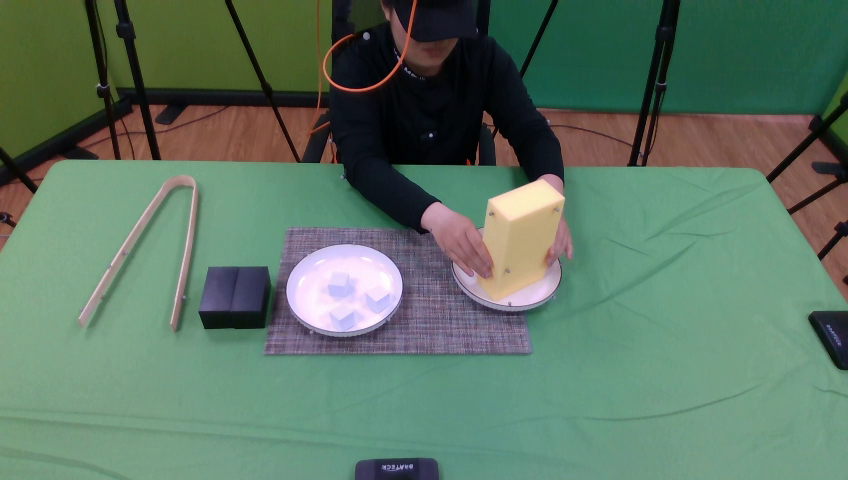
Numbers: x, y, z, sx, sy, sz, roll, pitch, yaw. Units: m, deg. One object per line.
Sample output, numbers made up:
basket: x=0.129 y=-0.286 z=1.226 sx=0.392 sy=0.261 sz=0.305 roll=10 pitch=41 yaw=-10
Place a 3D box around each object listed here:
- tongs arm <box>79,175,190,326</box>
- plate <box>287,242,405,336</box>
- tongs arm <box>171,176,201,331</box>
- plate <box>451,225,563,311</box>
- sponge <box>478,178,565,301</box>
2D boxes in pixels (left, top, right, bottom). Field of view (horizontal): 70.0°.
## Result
tongs arm: x=-0.534 y=0.005 z=1.144 sx=0.051 sy=0.026 sz=0.382 roll=6 pitch=45 yaw=1
plate: x=-0.138 y=0.090 z=1.084 sx=0.208 sy=0.039 sz=0.206 roll=2 pitch=46 yaw=-2
tongs arm: x=-0.453 y=0.010 z=1.150 sx=0.028 sy=0.028 sz=0.385 roll=-6 pitch=47 yaw=-6
plate: x=0.154 y=0.054 z=1.139 sx=0.209 sy=0.038 sz=0.208 roll=2 pitch=47 yaw=-2
sponge: x=0.167 y=0.002 z=1.061 sx=0.118 sy=0.208 sz=0.060 roll=-23 pitch=51 yaw=-22
